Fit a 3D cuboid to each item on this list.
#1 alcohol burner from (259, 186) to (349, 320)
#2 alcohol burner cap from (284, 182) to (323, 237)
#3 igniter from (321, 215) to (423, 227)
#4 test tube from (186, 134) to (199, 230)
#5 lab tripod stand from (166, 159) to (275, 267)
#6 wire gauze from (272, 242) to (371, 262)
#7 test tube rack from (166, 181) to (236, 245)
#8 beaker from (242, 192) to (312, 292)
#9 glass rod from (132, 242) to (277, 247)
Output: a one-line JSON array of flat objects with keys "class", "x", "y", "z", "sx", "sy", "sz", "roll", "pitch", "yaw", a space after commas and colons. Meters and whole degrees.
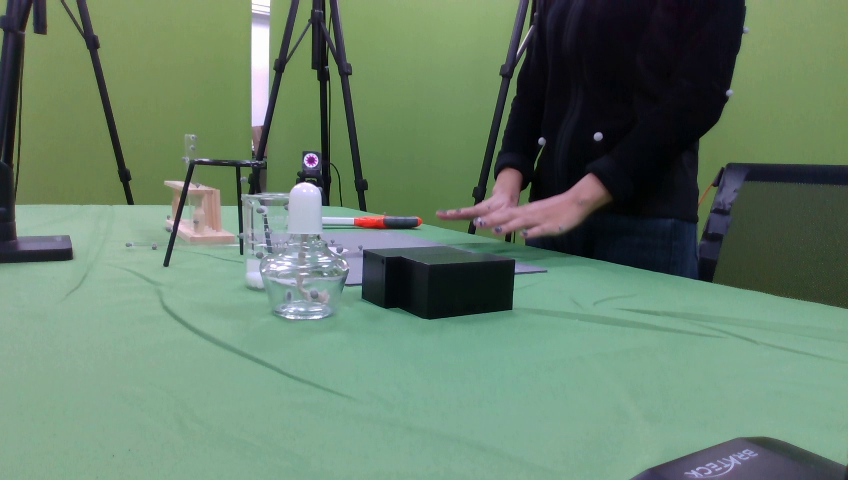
[{"class": "alcohol burner", "x": -0.106, "y": 0.009, "z": 0.532, "sx": 0.078, "sy": 0.119, "sz": 0.078, "roll": 0, "pitch": 8, "yaw": 0}, {"class": "alcohol burner cap", "x": -0.105, "y": -0.027, "z": 0.529, "sx": 0.034, "sy": 0.048, "sz": 0.034, "roll": 2, "pitch": 3, "yaw": 0}, {"class": "igniter", "x": -0.136, "y": -0.040, "z": 1.240, "sx": 0.278, "sy": 0.025, "sz": 0.057, "roll": 0, "pitch": -2, "yaw": -22}, {"class": "test tube", "x": -0.360, "y": -0.089, "z": 0.946, "sx": 0.017, "sy": 0.150, "sz": 0.017, "roll": 0, "pitch": 10, "yaw": 0}, {"class": "lab tripod stand", "x": -0.249, "y": -0.036, "z": 0.764, "sx": 0.148, "sy": 0.131, "sz": 0.148, "roll": 2, "pitch": 9, "yaw": 0}, {"class": "wire gauze", "x": -0.155, "y": 0.013, "z": 0.877, "sx": 0.122, "sy": 0.011, "sz": 0.124, "roll": -3, "pitch": 10, "yaw": -29}, {"class": "test tube rack", "x": -0.383, "y": -0.051, "z": 1.024, "sx": 0.067, "sy": 0.085, "sz": 0.241, "roll": -2, "pitch": 9, "yaw": -31}, {"class": "beaker", "x": -0.157, "y": 0.000, "z": 0.642, "sx": 0.084, "sy": 0.100, "sz": 0.074, "roll": 4, "pitch": 7, "yaw": 19}, {"class": "glass rod", "x": -0.316, "y": 0.007, "z": 0.885, "sx": 0.201, "sy": 0.008, "sz": 0.008, "roll": 0, "pitch": 7, "yaw": -27}]
